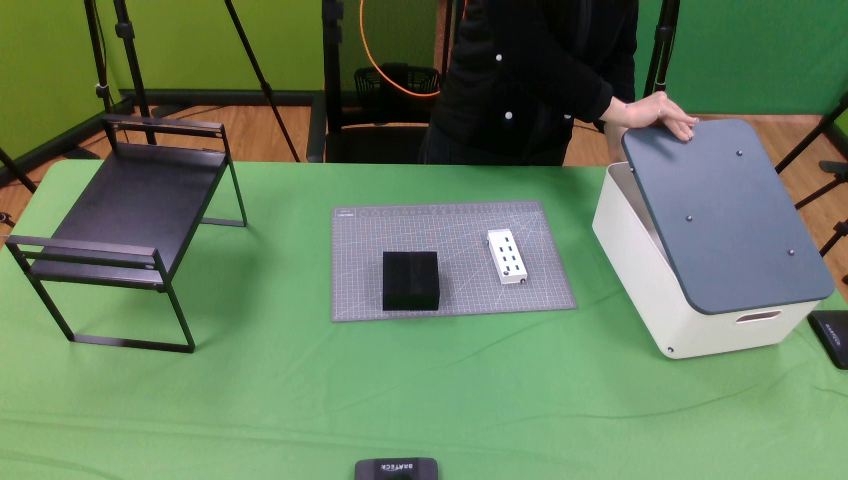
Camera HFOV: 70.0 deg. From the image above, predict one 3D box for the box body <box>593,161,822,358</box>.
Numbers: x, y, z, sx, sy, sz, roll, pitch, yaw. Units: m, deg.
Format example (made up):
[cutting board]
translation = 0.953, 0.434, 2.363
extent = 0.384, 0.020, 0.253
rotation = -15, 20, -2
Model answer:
[box body]
translation = 0.497, 0.022, 1.112
extent = 0.254, 0.161, 0.361
rotation = -7, 47, -10

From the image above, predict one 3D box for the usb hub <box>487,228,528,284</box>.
[usb hub]
translation = 0.159, 0.030, 1.173
extent = 0.049, 0.025, 0.124
rotation = -5, 47, -9

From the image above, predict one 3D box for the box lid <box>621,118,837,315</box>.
[box lid]
translation = 0.505, -0.057, 1.025
extent = 0.264, 0.015, 0.369
rotation = -6, 62, -10
